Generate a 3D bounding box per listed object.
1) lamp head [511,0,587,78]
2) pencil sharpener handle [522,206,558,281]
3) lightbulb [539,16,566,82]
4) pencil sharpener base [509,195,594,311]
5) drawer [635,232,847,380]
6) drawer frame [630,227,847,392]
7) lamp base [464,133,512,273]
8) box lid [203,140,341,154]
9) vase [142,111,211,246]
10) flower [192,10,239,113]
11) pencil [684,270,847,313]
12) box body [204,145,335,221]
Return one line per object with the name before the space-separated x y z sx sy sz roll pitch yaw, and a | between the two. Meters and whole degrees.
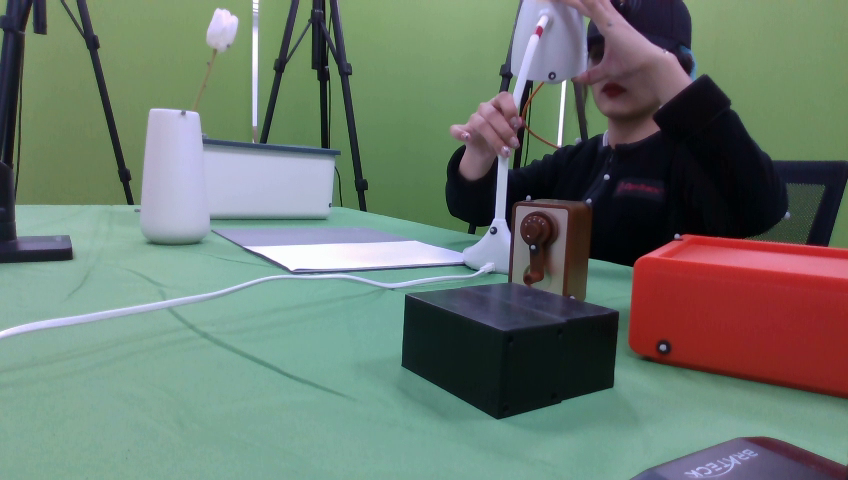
lamp head | 0.177 -0.301 0.860 0.112 0.123 0.112 -6 38 5
pencil sharpener handle | 0.102 0.003 0.555 0.036 0.067 0.031 0 6 31
lightbulb | 0.184 -0.284 0.878 0.059 0.108 0.059 -13 28 7
pencil sharpener base | 0.126 0.011 0.601 0.061 0.107 0.077 7 9 30
drawer | 0.292 0.045 0.488 0.193 0.073 0.213 7 10 30
drawer frame | 0.292 0.043 0.484 0.201 0.082 0.214 7 9 29
lamp base | 0.130 -0.052 0.806 0.160 0.180 0.180 6 12 29
box lid | -0.396 -0.212 1.373 0.373 0.015 0.262 -1 9 -29
vase | -0.378 -0.093 0.920 0.098 0.200 0.098 2 9 0
flower | -0.354 -0.174 0.915 0.038 0.361 0.044 18 -4 12
pencil | 0.308 0.046 0.516 0.194 0.012 0.012 12 5 -11
box body | -0.411 -0.135 1.386 0.366 0.160 0.253 -2 9 -29
